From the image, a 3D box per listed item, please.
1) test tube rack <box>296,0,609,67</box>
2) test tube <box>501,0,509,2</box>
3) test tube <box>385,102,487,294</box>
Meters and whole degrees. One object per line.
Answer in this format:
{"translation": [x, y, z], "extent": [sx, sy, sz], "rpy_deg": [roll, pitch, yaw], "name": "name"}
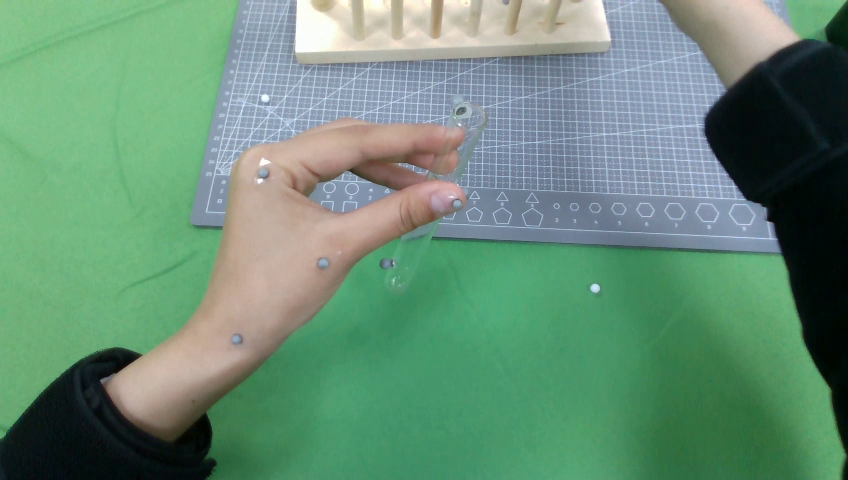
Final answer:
{"translation": [0.022, -0.187, 0.451], "extent": [0.242, 0.086, 0.066], "rpy_deg": [-3, 66, -2], "name": "test tube rack"}
{"translation": [0.064, -0.228, 0.415], "extent": [0.017, 0.151, 0.017], "rpy_deg": [0, 60, 1], "name": "test tube"}
{"translation": [0.001, -0.012, 0.304], "extent": [0.017, 0.151, 0.017], "rpy_deg": [8, 56, -12], "name": "test tube"}
